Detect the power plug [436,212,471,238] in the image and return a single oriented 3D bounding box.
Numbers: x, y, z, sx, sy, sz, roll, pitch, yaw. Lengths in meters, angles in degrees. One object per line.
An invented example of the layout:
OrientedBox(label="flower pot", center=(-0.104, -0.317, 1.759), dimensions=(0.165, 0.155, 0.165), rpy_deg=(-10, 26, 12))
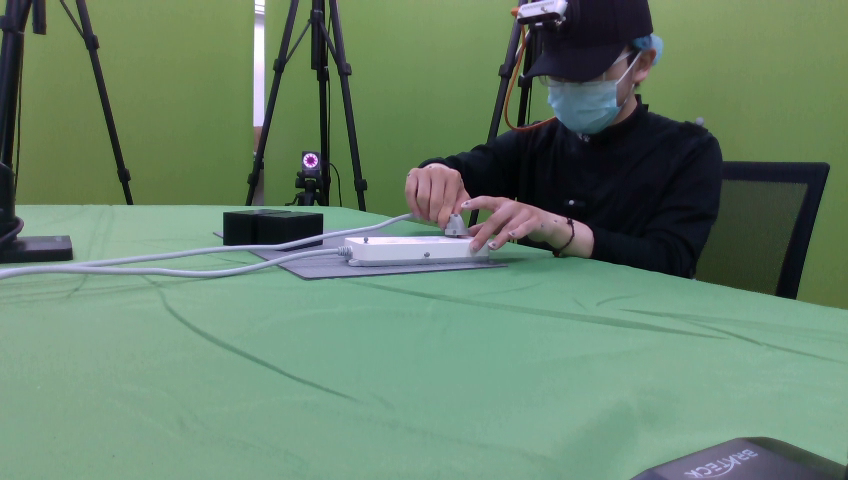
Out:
OrientedBox(label="power plug", center=(0.045, -0.016, 0.909), dimensions=(0.035, 0.052, 0.072), rpy_deg=(-2, 4, -16))

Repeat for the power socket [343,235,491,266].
OrientedBox(label="power socket", center=(-0.007, 0.012, 0.848), dimensions=(0.228, 0.032, 0.072), rpy_deg=(-2, 8, -29))
